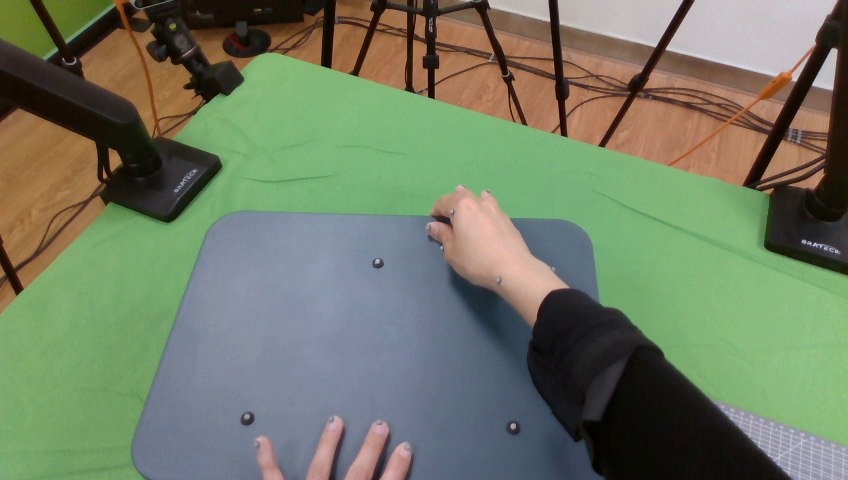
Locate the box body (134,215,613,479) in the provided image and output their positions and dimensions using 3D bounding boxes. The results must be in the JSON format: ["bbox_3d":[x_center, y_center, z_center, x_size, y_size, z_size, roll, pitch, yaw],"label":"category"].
[{"bbox_3d":[-0.032,0.127,0.576,0.364,0.162,0.251,2,53,2],"label":"box body"}]

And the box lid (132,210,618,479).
[{"bbox_3d":[-0.031,0.082,0.516,0.371,0.015,0.261,2,53,2],"label":"box lid"}]
